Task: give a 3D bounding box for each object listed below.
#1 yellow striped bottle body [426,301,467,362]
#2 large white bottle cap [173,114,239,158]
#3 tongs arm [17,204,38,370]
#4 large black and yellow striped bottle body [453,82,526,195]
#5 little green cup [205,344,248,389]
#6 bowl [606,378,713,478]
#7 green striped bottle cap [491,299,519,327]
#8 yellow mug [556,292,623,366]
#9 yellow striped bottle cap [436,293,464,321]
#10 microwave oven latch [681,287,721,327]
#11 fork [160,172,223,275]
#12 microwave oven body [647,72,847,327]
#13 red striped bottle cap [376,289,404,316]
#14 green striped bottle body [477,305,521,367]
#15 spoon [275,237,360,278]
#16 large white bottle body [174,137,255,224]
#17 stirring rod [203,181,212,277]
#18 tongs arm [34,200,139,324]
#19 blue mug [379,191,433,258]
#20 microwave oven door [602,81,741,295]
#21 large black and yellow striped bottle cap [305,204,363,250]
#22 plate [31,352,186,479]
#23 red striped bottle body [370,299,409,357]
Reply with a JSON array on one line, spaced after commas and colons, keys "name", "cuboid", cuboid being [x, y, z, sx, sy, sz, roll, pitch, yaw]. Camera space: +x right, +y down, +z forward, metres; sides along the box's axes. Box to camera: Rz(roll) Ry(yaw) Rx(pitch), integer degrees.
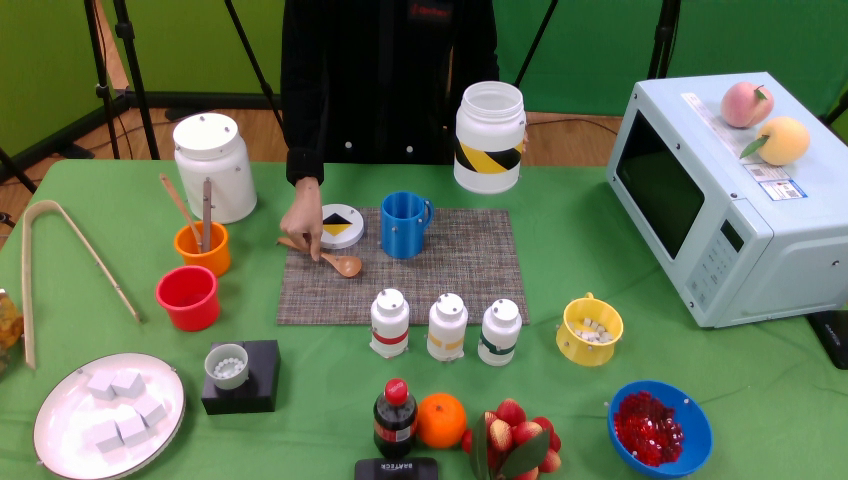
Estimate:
[{"name": "yellow striped bottle body", "cuboid": [0.037, 0.142, 0.996, 0.063, 0.121, 0.062, 2, 46, -2]}, {"name": "large white bottle cap", "cuboid": [-0.403, -0.195, 1.122, 0.115, 0.018, 0.114, 2, 47, -2]}, {"name": "tongs arm", "cuboid": [-0.698, 0.069, 1.068, 0.028, 0.028, 0.385, -20, 50, -13]}, {"name": "large black and yellow striped bottle body", "cuboid": [0.123, -0.194, 1.155, 0.131, 0.185, 0.130, 0, 43, 0]}, {"name": "little green cup", "cuboid": [-0.294, 0.191, 0.909, 0.061, 0.039, 0.061, 1, 48, -1]}, {"name": "bowl", "cuboid": [0.340, 0.292, 0.906, 0.151, 0.077, 0.150, 2, 46, -2]}, {"name": "green striped bottle cap", "cuboid": [0.128, 0.115, 0.958, 0.044, 0.020, 0.044, 0, 46, 0]}, {"name": "yellow mug", "cuboid": [0.285, 0.145, 1.051, 0.100, 0.064, 0.130, 7, 45, 3]}, {"name": "yellow striped bottle cap", "cuboid": [0.041, 0.106, 0.959, 0.044, 0.019, 0.044, -1, 49, 1]}, {"name": "microwave oven latch", "cuboid": [0.494, 0.119, 1.087, 0.030, 0.029, 0.078, -6, 46, -9]}, {"name": "fork", "cuboid": [-0.425, -0.030, 1.103, 0.028, 0.018, 0.207, -29, 98, -19]}, {"name": "microwave oven body", "cuboid": [0.607, -0.089, 1.164, 0.326, 0.261, 0.438, -7, 46, -10]}, {"name": "red striped bottle cap", "cuboid": [-0.055, 0.098, 0.958, 0.044, 0.018, 0.044, 0, 48, 0]}, {"name": "green striped bottle body", "cuboid": [0.124, 0.151, 0.995, 0.063, 0.120, 0.063, 2, 46, -2]}, {"name": "spoon", "cuboid": [-0.205, 0.025, 1.152, 0.193, 0.022, 0.041, 21, 81, 16]}, {"name": "large white bottle body", "cuboid": [-0.408, -0.136, 1.183, 0.131, 0.185, 0.130, 2, 46, -2]}, {"name": "stirring rod", "cuboid": [-0.396, -0.021, 1.108, 0.014, 0.006, 0.176, -1, 89, -1]}, {"name": "tongs arm", "cuboid": [-0.622, 0.034, 1.105, 0.051, 0.026, 0.382, -32, 55, -26]}, {"name": "blue mug", "cuboid": [-0.031, -0.035, 1.167, 0.116, 0.106, 0.082, -26, 54, -27]}, {"name": "microwave oven door", "cuboid": [0.456, -0.107, 1.162, 0.039, 0.245, 0.353, -7, 47, -11]}, {"name": "large black and yellow striped bottle cap", "cuboid": [-0.180, -0.028, 1.211, 0.115, 0.019, 0.114, 2, 47, -2]}, {"name": "plate", "cuboid": [-0.459, 0.262, 0.898, 0.209, 0.038, 0.208, 2, 46, -2]}, {"name": "red striped bottle body", "cuboid": [-0.057, 0.135, 0.997, 0.063, 0.120, 0.062, 2, 47, -2]}]
